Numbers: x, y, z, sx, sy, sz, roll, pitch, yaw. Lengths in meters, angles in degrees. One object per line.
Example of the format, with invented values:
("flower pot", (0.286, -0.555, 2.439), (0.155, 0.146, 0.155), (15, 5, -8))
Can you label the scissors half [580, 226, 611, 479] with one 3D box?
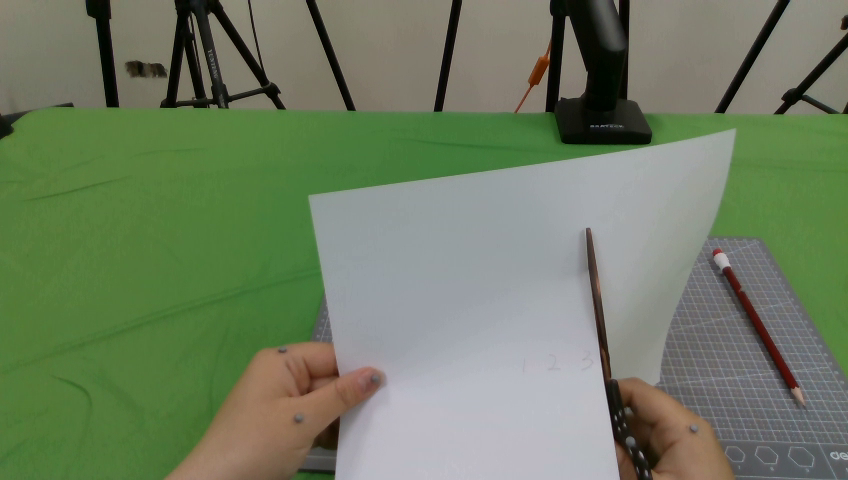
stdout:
("scissors half", (0.102, 0.077, 0.359), (0.013, 0.176, 0.040), (-10, 14, -3))

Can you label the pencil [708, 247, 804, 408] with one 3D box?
("pencil", (0.294, 0.070, 0.544), (0.012, 0.012, 0.192), (-1, 39, 1))

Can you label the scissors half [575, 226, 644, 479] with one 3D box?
("scissors half", (0.102, 0.077, 0.337), (0.013, 0.040, 0.174), (-10, 78, 2))
